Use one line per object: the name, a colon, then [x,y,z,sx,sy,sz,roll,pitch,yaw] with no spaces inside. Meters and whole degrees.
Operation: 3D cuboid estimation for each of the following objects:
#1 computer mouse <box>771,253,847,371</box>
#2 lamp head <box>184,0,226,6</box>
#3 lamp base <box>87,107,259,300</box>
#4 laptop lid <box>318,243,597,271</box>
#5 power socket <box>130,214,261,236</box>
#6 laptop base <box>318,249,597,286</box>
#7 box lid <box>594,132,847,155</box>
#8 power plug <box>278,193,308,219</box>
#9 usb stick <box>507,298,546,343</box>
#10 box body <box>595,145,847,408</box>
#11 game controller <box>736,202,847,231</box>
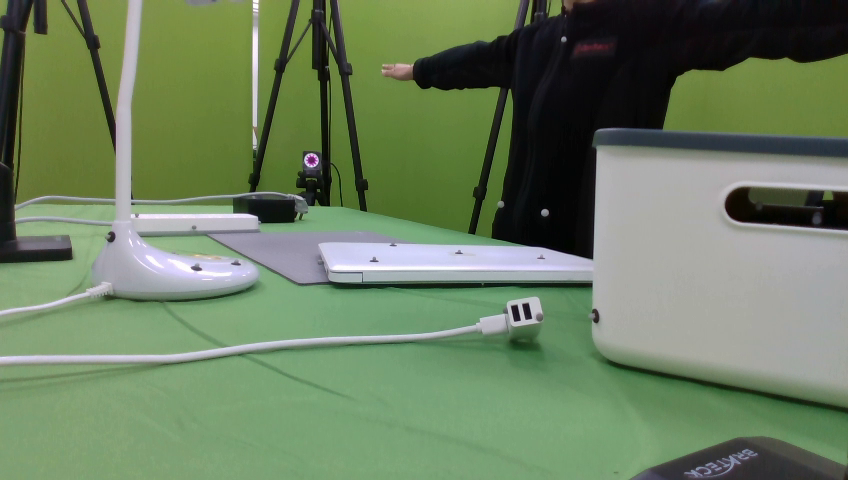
computer mouse: [0.344,0.056,0.518,0.063,0.041,0.117,13,48,2]
lamp head: [-0.229,-0.320,0.627,0.112,0.112,0.123,6,-35,26]
lamp base: [-0.254,-0.039,0.603,0.160,0.180,0.179,5,10,18]
laptop lid: [0.046,0.022,0.789,0.358,0.013,0.241,1,6,-12]
power socket: [-0.397,-0.028,1.048,0.228,0.032,0.072,-3,8,-35]
laptop base: [0.046,0.034,0.789,0.355,0.023,0.235,1,5,-14]
box lid: [0.310,-0.066,0.499,0.262,0.015,0.373,7,8,29]
power plug: [-0.293,-0.076,1.344,0.073,0.052,0.035,17,16,-16]
usb stick: [0.079,0.065,0.470,0.027,0.021,0.059,-12,-24,4]
box body: [0.309,0.007,0.510,0.253,0.160,0.366,6,8,29]
game controller: [0.290,0.001,0.425,0.097,0.051,0.155,0,7,5]
